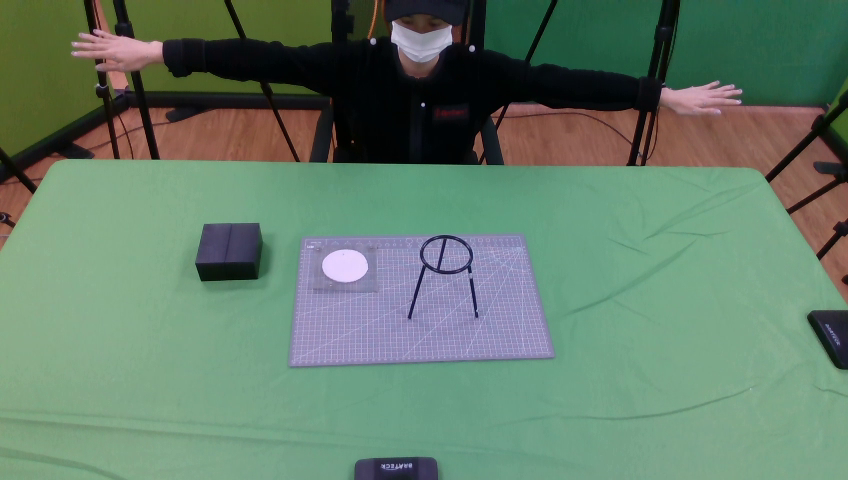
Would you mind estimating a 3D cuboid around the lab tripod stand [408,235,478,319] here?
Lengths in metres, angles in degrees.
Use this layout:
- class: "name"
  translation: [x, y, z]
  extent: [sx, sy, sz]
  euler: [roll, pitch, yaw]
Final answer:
- class: "lab tripod stand"
  translation: [0.032, 0.065, 1.057]
  extent: [0.148, 0.132, 0.147]
  euler: [1, 45, -1]

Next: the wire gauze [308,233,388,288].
- class: "wire gauze"
  translation: [-0.144, 0.033, 1.140]
  extent: [0.121, 0.011, 0.124]
  euler: [-16, 43, -16]
